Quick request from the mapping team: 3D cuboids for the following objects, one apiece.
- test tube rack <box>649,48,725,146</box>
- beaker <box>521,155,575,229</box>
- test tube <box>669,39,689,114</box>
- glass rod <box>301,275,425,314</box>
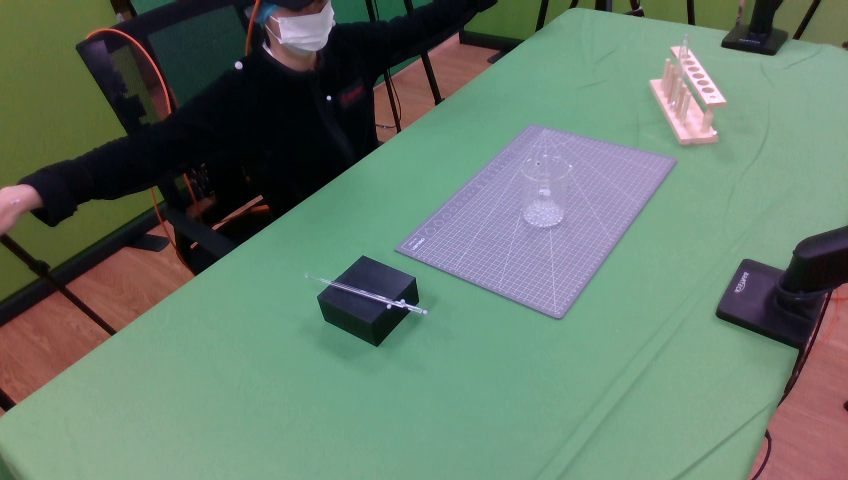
[{"bbox_3d":[0.508,-0.285,1.186,0.067,0.085,0.241,-4,40,6],"label":"test tube rack"},{"bbox_3d":[0.197,-0.075,0.969,0.084,0.101,0.073,-6,40,2],"label":"beaker"},{"bbox_3d":[0.482,-0.308,1.146,0.017,0.151,0.017,-5,42,5],"label":"test tube"},{"bbox_3d":[-0.088,0.074,0.833,0.198,0.008,0.008,14,44,23],"label":"glass rod"}]
